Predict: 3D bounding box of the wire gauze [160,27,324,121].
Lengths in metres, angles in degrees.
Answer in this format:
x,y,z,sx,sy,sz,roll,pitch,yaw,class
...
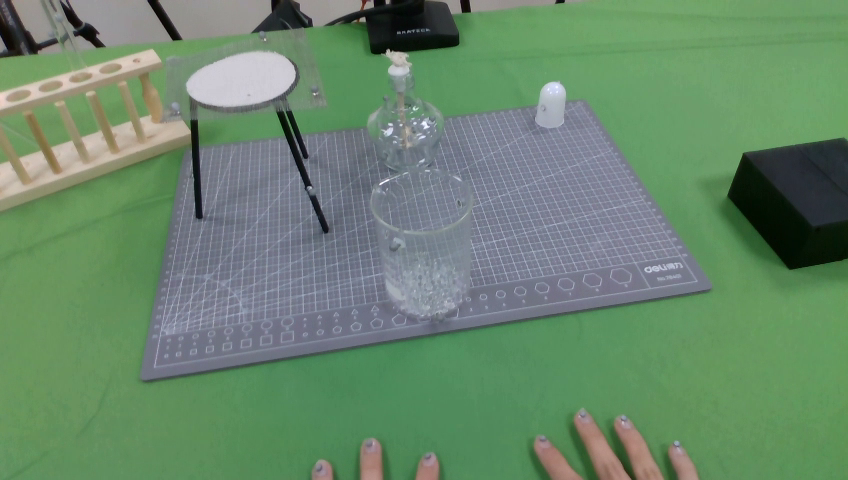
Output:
x,y,z,sx,sy,sz,roll,pitch,yaw,class
-0.151,-0.136,0.492,0.125,0.011,0.120,-13,46,-9,wire gauze

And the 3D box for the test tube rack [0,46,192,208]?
x,y,z,sx,sy,sz,roll,pitch,yaw,class
-0.373,-0.110,0.611,0.242,0.086,0.066,-26,49,-22,test tube rack

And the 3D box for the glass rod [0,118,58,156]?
x,y,z,sx,sy,sz,roll,pitch,yaw,class
-0.431,-0.133,0.557,0.008,0.202,0.008,-14,57,24,glass rod

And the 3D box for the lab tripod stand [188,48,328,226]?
x,y,z,sx,sy,sz,roll,pitch,yaw,class
-0.148,-0.088,0.540,0.148,0.133,0.147,-2,47,2,lab tripod stand

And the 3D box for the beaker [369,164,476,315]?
x,y,z,sx,sy,sz,roll,pitch,yaw,class
-0.002,0.002,0.466,0.083,0.101,0.074,25,51,27,beaker

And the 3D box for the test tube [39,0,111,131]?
x,y,z,sx,sy,sz,roll,pitch,yaw,class
-0.347,-0.175,0.605,0.017,0.151,0.017,-1,42,1,test tube

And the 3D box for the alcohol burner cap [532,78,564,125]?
x,y,z,sx,sy,sz,roll,pitch,yaw,class
0.136,-0.153,0.657,0.034,0.048,0.033,-1,45,2,alcohol burner cap

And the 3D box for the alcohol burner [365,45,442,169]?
x,y,z,sx,sy,sz,roll,pitch,yaw,class
-0.022,-0.131,0.592,0.078,0.120,0.077,-3,43,3,alcohol burner
